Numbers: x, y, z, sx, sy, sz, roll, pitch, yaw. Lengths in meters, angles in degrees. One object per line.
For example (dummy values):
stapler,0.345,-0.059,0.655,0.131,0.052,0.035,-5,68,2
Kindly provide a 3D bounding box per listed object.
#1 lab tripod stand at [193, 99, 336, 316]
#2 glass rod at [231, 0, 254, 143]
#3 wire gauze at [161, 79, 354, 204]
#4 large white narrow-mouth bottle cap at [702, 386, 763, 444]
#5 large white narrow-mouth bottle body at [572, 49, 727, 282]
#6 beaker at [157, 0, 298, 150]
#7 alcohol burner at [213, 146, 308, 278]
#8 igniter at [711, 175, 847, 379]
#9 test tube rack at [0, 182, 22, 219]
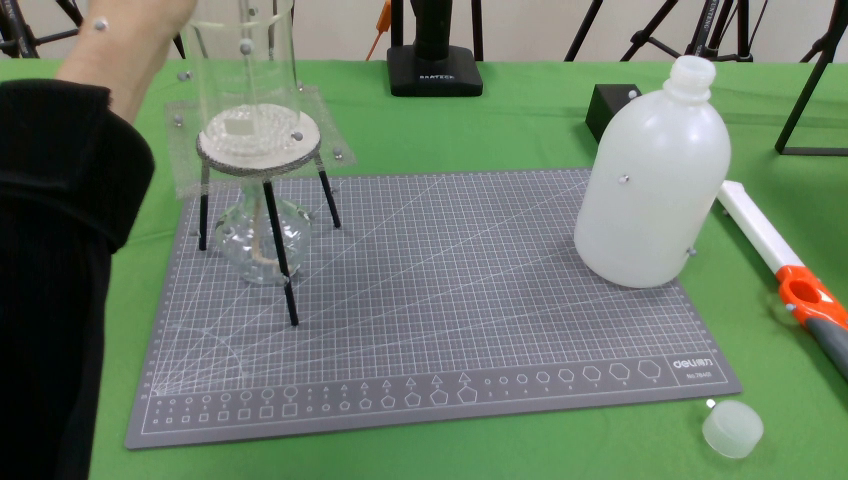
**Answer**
lab tripod stand,-0.125,-0.032,0.490,0.148,0.132,0.147,4,43,-3
glass rod,-0.120,-0.159,0.384,0.008,0.201,0.008,2,25,0
wire gauze,-0.126,-0.081,0.447,0.122,0.011,0.123,-14,50,-16
large white narrow-mouth bottle cap,0.223,0.127,0.438,0.038,0.024,0.037,2,43,-2
large white narrow-mouth bottle body,0.191,-0.062,0.506,0.102,0.196,0.101,2,43,-1
beaker,-0.128,-0.119,0.415,0.084,0.101,0.073,-7,46,-13
alcohol burner,-0.135,-0.026,0.498,0.078,0.120,0.077,4,41,-3
igniter,0.332,0.030,0.547,0.057,0.025,0.273,6,42,-14
test tube rack,-0.477,-0.018,0.482,0.066,0.086,0.242,33,50,27
